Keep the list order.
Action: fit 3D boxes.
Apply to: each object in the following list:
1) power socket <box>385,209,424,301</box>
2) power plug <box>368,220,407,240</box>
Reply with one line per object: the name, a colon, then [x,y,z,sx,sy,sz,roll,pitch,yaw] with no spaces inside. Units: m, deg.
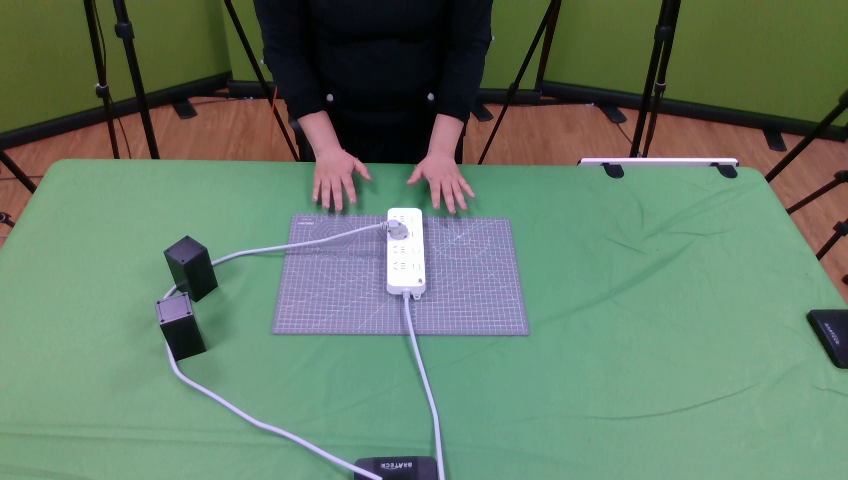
power socket: [-0.038,0.019,1.165,0.072,0.033,0.225,0,46,-3]
power plug: [-0.068,-0.018,1.172,0.072,0.053,0.035,7,45,5]
